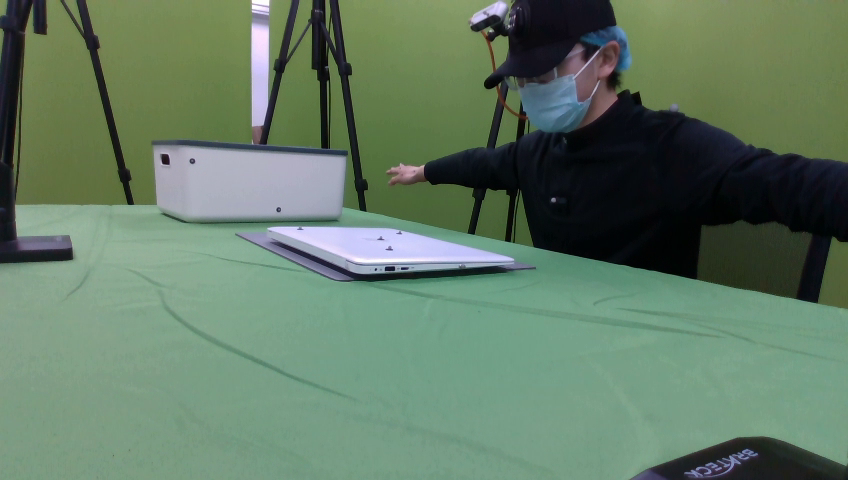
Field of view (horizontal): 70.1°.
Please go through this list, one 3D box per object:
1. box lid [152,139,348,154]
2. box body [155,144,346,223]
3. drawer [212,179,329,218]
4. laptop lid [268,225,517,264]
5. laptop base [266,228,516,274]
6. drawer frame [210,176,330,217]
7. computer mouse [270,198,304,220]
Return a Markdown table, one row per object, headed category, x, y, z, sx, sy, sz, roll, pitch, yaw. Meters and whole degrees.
| category | x | y | z | sx | sy | sz | roll | pitch | yaw |
| --- | --- | --- | --- | --- | --- | --- | --- | --- | --- |
| box lid | -0.379 | -0.205 | 1.338 | 0.373 | 0.015 | 0.262 | -3 | 10 | -36 |
| box body | -0.384 | -0.131 | 1.346 | 0.366 | 0.160 | 0.253 | -3 | 9 | -36 |
| drawer | -0.348 | -0.097 | 1.365 | 0.213 | 0.073 | 0.193 | 0 | 10 | -32 |
| laptop lid | -0.063 | 0.002 | 0.877 | 0.243 | 0.013 | 0.355 | 1 | 7 | -30 |
| laptop base | -0.065 | 0.014 | 0.877 | 0.237 | 0.023 | 0.352 | 2 | 6 | -32 |
| drawer frame | -0.348 | -0.104 | 1.366 | 0.215 | 0.082 | 0.200 | -6 | 9 | -33 |
| computer mouse | -0.318 | -0.073 | 1.402 | 0.063 | 0.041 | 0.116 | 4 | 13 | -24 |
